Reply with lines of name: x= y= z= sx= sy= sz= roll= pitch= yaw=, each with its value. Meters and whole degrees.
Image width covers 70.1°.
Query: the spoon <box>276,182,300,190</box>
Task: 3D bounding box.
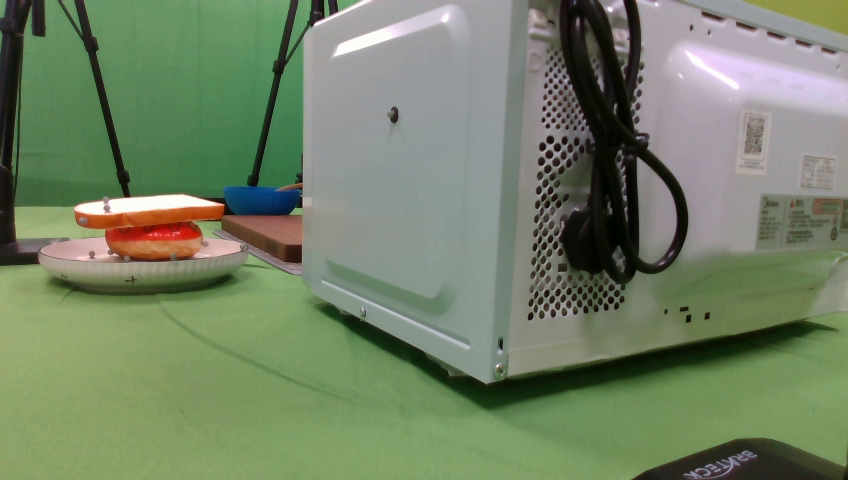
spoon: x=-0.300 y=-0.102 z=1.265 sx=0.194 sy=0.021 sz=0.041 roll=-23 pitch=8 yaw=-23

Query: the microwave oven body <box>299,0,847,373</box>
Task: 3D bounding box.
microwave oven body: x=0.151 y=-0.055 z=0.542 sx=0.444 sy=0.260 sz=0.324 roll=-2 pitch=7 yaw=-33

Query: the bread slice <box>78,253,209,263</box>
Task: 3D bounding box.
bread slice: x=-0.302 y=0.028 z=0.661 sx=0.132 sy=0.019 sz=0.104 roll=-4 pitch=8 yaw=-45

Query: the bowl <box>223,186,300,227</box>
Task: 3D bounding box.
bowl: x=-0.330 y=-0.068 z=1.231 sx=0.151 sy=0.077 sz=0.151 roll=3 pitch=7 yaw=0

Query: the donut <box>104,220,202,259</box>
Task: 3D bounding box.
donut: x=-0.298 y=-0.003 z=0.669 sx=0.099 sy=0.048 sz=0.099 roll=3 pitch=-1 yaw=0

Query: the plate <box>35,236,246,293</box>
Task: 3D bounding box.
plate: x=-0.305 y=0.026 z=0.668 sx=0.208 sy=0.039 sz=0.207 roll=2 pitch=7 yaw=0

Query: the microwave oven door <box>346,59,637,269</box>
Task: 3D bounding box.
microwave oven door: x=0.086 y=-0.089 z=0.750 sx=0.357 sy=0.243 sz=0.039 roll=1 pitch=8 yaw=-10

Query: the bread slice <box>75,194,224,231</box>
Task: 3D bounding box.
bread slice: x=-0.301 y=-0.032 z=0.658 sx=0.106 sy=0.018 sz=0.135 roll=10 pitch=17 yaw=41

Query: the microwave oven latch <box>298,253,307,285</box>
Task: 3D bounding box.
microwave oven latch: x=-0.081 y=0.027 z=0.582 sx=0.079 sy=0.029 sz=0.030 roll=-1 pitch=7 yaw=-32
